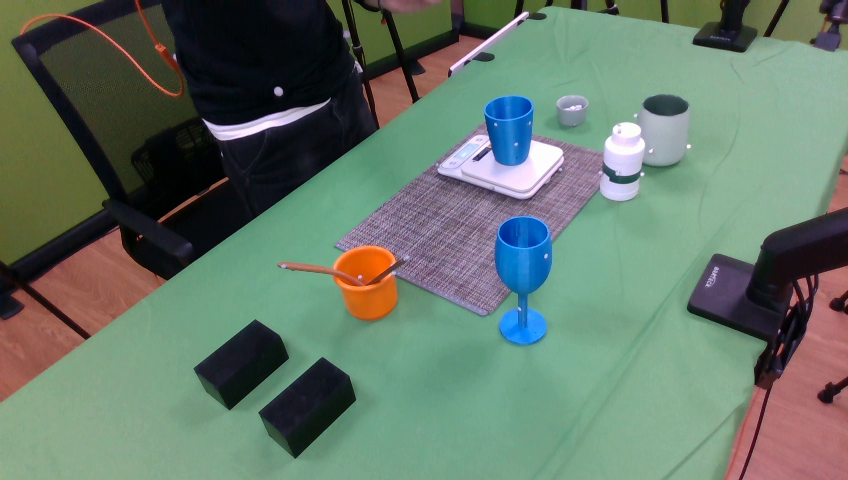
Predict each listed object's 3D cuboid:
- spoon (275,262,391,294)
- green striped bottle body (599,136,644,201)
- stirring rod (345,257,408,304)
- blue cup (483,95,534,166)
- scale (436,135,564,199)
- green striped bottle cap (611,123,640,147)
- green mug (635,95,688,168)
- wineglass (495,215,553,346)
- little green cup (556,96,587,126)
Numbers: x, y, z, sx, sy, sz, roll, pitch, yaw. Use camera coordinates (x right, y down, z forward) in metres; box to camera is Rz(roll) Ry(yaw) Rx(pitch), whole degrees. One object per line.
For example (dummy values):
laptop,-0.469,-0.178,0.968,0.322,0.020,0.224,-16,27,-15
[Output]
spoon,-0.120,0.050,0.830,0.041,0.195,0.021,32,97,45
green striped bottle body,0.326,-0.128,0.997,0.063,0.120,0.063,-4,41,4
stirring rod,-0.067,0.057,0.815,0.014,0.175,0.006,-25,82,-38
blue cup,0.150,-0.187,1.051,0.092,0.101,0.092,-6,41,6
scale,0.137,-0.142,1.101,0.199,0.032,0.149,22,48,30
green striped bottle cap,0.322,-0.168,0.963,0.044,0.020,0.044,-3,42,3
green mug,0.421,-0.201,1.081,0.092,0.105,0.125,5,42,15
wineglass,0.127,0.054,0.770,0.074,0.173,0.073,-4,40,4
little green cup,0.295,-0.258,1.214,0.061,0.039,0.061,-4,42,4
